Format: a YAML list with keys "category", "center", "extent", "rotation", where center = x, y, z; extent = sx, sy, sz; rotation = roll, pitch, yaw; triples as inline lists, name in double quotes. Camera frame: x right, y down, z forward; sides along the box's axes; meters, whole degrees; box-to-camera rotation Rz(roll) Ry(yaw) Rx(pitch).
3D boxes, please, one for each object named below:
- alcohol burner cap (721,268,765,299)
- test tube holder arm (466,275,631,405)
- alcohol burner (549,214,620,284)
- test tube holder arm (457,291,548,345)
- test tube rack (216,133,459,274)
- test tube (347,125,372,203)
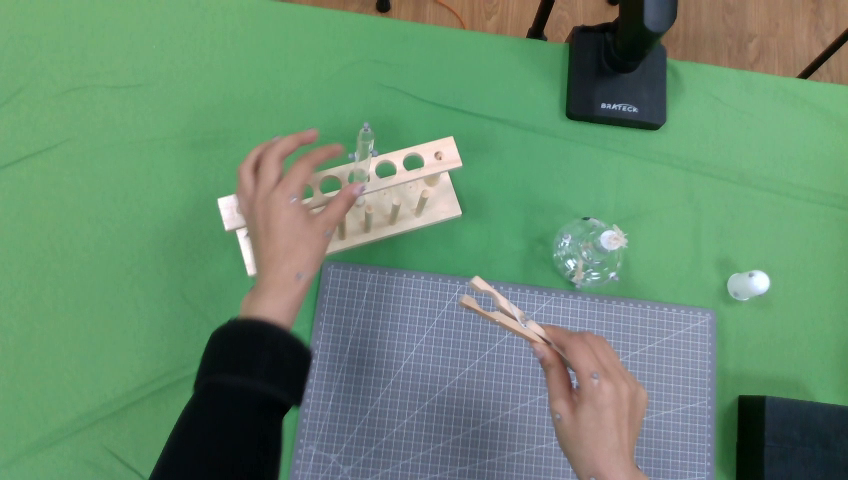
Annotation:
- category: "alcohol burner cap"
  center: [0.367, 0.049, 0.692]
  extent: [0.034, 0.048, 0.033]
  rotation: [1, 76, -4]
- category: "test tube holder arm"
  center: [0.110, 0.088, 0.530]
  extent: [0.178, 0.015, 0.013]
  rotation: [37, 78, -4]
- category: "alcohol burner"
  center: [0.177, 0.006, 0.645]
  extent: [0.078, 0.119, 0.077]
  rotation: [2, 77, -7]
- category: "test tube holder arm"
  center: [0.069, 0.068, 0.525]
  extent: [0.088, 0.015, 0.010]
  rotation: [27, 78, -6]
- category: "test tube rack"
  center: [-0.082, -0.036, 0.641]
  extent: [0.243, 0.085, 0.066]
  rotation: [-16, 79, -9]
- category: "test tube"
  center: [-0.065, -0.070, 0.599]
  extent: [0.017, 0.151, 0.017]
  rotation: [3, 70, -9]
